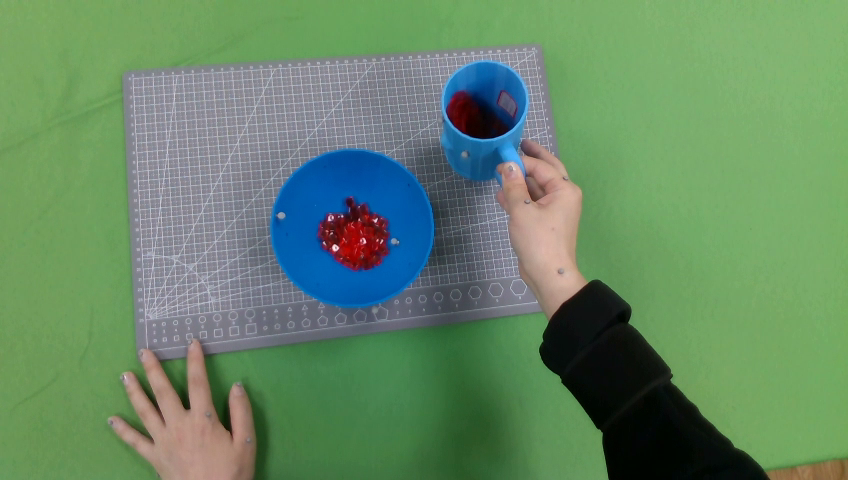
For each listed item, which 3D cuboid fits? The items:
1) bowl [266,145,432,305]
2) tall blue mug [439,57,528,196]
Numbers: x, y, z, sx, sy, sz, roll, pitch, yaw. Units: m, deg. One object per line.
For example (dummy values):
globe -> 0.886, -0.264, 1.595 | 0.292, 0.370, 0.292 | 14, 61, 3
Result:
bowl -> -0.071, -0.009, 0.589 | 0.151, 0.077, 0.151 | 1, 81, -6
tall blue mug -> 0.066, -0.102, 0.572 | 0.107, 0.108, 0.077 | 35, 81, 9
